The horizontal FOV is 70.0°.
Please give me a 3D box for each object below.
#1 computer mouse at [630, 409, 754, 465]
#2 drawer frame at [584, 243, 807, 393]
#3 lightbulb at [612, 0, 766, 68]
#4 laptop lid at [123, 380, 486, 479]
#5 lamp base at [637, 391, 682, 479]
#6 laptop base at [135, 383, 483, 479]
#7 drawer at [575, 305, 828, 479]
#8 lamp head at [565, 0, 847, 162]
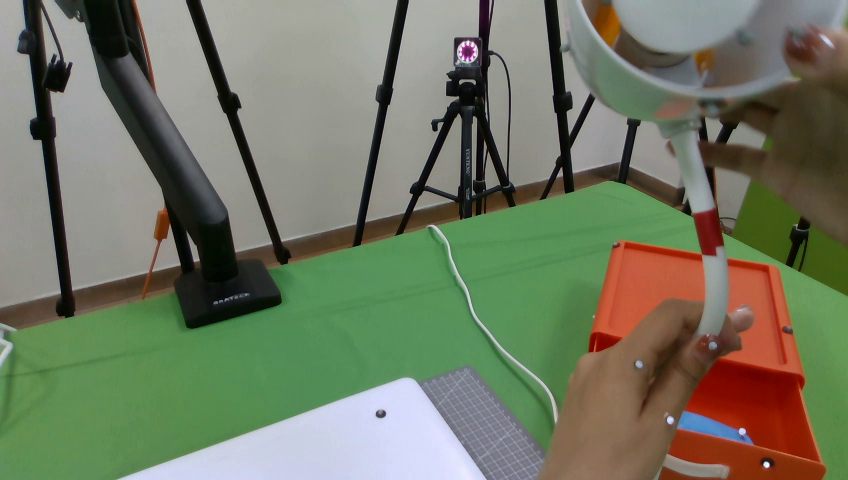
[{"bbox_3d":[0.249,0.192,0.558,0.117,0.041,0.062,9,30,10],"label":"computer mouse"},{"bbox_3d":[0.301,0.098,0.695,0.201,0.083,0.213,9,30,18],"label":"drawer frame"},{"bbox_3d":[0.109,-0.102,0.265,0.059,0.059,0.108,4,-1,8],"label":"lightbulb"},{"bbox_3d":[-0.115,0.238,0.483,0.358,0.013,0.239,-14,34,-23],"label":"laptop lid"},{"bbox_3d":[0.156,0.204,0.397,0.161,0.181,0.177,0,27,-2],"label":"lamp base"},{"bbox_3d":[-0.116,0.248,0.491,0.355,0.023,0.233,-14,35,-24],"label":"laptop base"},{"bbox_3d":[0.263,0.151,0.604,0.194,0.074,0.211,8,29,17],"label":"drawer"},{"bbox_3d":[0.119,-0.099,0.289,0.112,0.112,0.123,3,-8,7],"label":"lamp head"}]
